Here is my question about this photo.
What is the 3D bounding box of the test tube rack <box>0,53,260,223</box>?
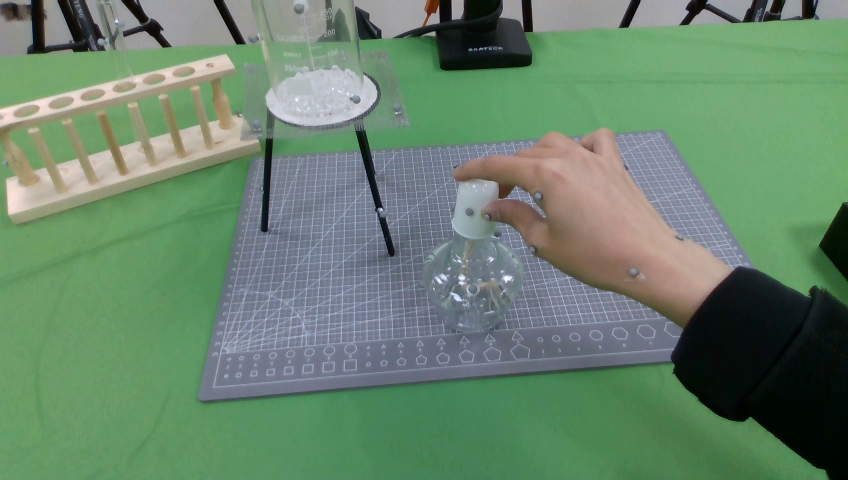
[{"bbox_3d":[-0.300,-0.107,0.608,0.243,0.086,0.066,-21,47,-20],"label":"test tube rack"}]

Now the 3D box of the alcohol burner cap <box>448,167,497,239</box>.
[{"bbox_3d":[0.034,-0.028,0.414,0.034,0.048,0.033,2,41,-1],"label":"alcohol burner cap"}]

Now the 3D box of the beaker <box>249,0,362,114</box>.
[{"bbox_3d":[-0.088,-0.150,0.443,0.084,0.101,0.073,-3,43,1],"label":"beaker"}]

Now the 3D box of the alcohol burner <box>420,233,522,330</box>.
[{"bbox_3d":[0.035,0.011,0.451,0.078,0.120,0.077,0,42,1],"label":"alcohol burner"}]

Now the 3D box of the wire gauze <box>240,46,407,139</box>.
[{"bbox_3d":[-0.083,-0.117,0.479,0.125,0.011,0.120,-10,42,-4],"label":"wire gauze"}]

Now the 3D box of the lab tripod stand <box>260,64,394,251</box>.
[{"bbox_3d":[-0.082,-0.070,0.525,0.148,0.133,0.147,-1,46,2],"label":"lab tripod stand"}]

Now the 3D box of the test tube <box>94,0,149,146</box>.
[{"bbox_3d":[-0.293,-0.160,0.591,0.017,0.151,0.017,2,37,-1],"label":"test tube"}]
